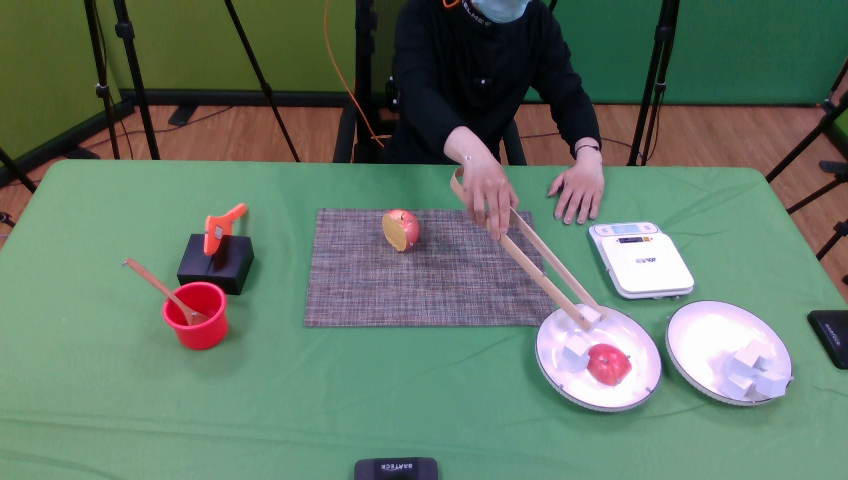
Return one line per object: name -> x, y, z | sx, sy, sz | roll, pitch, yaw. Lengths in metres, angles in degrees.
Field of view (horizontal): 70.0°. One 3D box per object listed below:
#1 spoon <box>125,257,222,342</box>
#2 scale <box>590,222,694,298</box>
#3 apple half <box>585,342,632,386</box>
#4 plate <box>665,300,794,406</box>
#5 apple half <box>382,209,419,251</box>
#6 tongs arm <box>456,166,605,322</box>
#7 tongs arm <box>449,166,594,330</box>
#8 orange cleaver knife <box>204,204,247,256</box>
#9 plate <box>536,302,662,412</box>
spoon -> -0.408, 0.096, 0.990 | 0.194, 0.021, 0.041 | 50, 53, -18
scale -> 0.424, 0.031, 1.189 | 0.149, 0.032, 0.199 | -3, 46, -7
apple half -> 0.309, 0.198, 1.008 | 0.081, 0.033, 0.081 | 4, 48, -4
plate -> 0.513, 0.194, 1.034 | 0.208, 0.039, 0.206 | 2, 46, -2
apple half -> -0.039, -0.022, 1.175 | 0.053, 0.075, 0.080 | -27, 50, -31
tongs arm -> 0.188, -0.002, 1.104 | 0.028, 0.028, 0.385 | -28, 66, -28
tongs arm -> 0.170, 0.007, 1.092 | 0.051, 0.026, 0.383 | -31, 68, -33
orange cleaver knife -> -0.374, -0.024, 1.146 | 0.012, 0.077, 0.211 | 4, 14, 1
plate -> 0.288, 0.196, 1.016 | 0.209, 0.038, 0.208 | 2, 46, -2
